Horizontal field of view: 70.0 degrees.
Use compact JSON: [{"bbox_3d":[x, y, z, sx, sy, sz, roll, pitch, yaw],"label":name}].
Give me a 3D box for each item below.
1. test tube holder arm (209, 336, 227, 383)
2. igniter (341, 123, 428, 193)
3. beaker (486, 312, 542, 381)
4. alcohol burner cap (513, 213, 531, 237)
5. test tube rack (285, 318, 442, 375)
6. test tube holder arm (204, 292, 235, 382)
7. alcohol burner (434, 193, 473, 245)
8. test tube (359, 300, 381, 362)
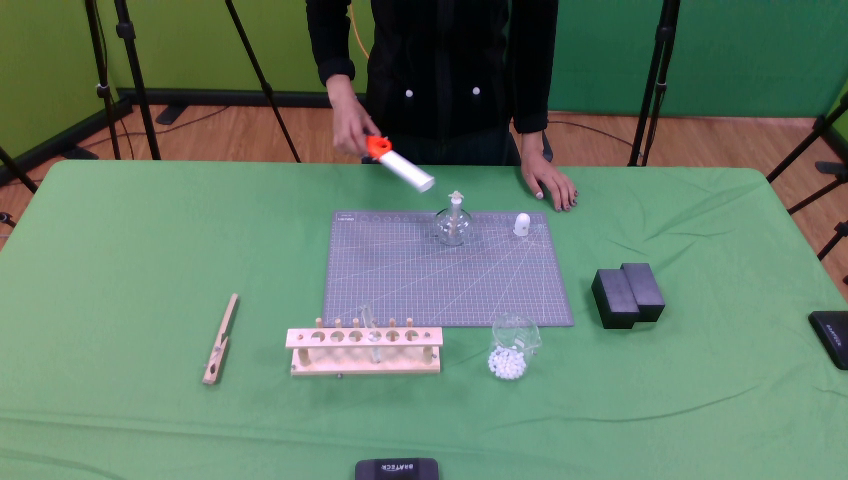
[{"bbox_3d":[-0.338,0.193,0.991,0.010,0.015,0.087,28,39,-25],"label":"test tube holder arm"},{"bbox_3d":[-0.086,-0.166,1.189,0.057,0.025,0.275,-33,49,-20],"label":"igniter"},{"bbox_3d":[0.144,0.177,0.985,0.084,0.101,0.074,22,49,16],"label":"beaker"},{"bbox_3d":[0.200,-0.034,1.227,0.034,0.048,0.033,2,46,-2],"label":"alcohol burner cap"},{"bbox_3d":[-0.095,0.168,0.986,0.242,0.085,0.066,0,46,-4],"label":"test tube rack"},{"bbox_3d":[-0.343,0.159,1.020,0.013,0.015,0.177,27,39,-26],"label":"test tube holder arm"},{"bbox_3d":[0.059,-0.047,1.180,0.078,0.120,0.077,1,48,-1],"label":"alcohol burner"},{"bbox_3d":[-0.083,0.144,0.940,0.017,0.151,0.017,-3,46,3],"label":"test tube"}]
